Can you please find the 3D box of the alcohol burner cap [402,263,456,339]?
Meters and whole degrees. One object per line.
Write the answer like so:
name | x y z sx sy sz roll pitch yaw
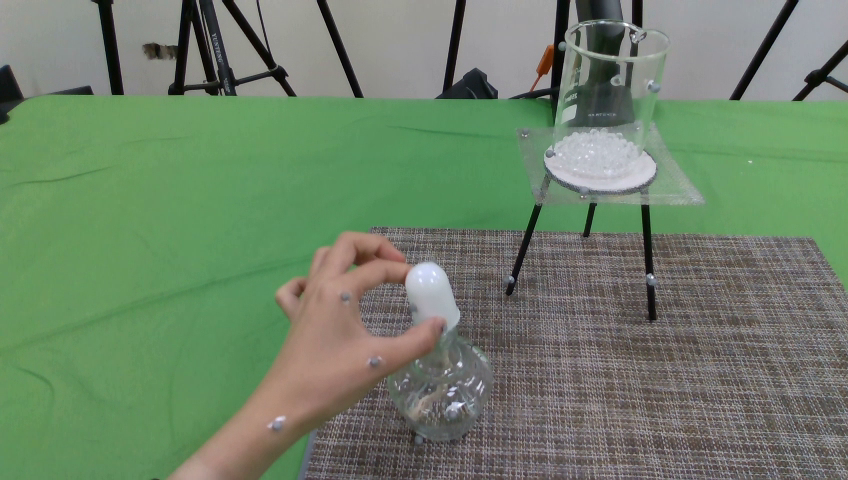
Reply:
alcohol burner cap | 0.001 0.036 0.390 0.034 0.048 0.033 -7 36 6

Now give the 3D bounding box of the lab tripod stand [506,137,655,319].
lab tripod stand | 0.147 -0.011 0.530 0.148 0.132 0.147 0 38 1

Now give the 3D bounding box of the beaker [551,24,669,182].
beaker | 0.138 -0.103 0.461 0.073 0.101 0.084 26 46 29

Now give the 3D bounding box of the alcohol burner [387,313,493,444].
alcohol burner | 0.011 0.089 0.428 0.078 0.120 0.077 0 40 1

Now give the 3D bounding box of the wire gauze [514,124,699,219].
wire gauze | 0.140 -0.059 0.485 0.125 0.011 0.120 1 41 -2
